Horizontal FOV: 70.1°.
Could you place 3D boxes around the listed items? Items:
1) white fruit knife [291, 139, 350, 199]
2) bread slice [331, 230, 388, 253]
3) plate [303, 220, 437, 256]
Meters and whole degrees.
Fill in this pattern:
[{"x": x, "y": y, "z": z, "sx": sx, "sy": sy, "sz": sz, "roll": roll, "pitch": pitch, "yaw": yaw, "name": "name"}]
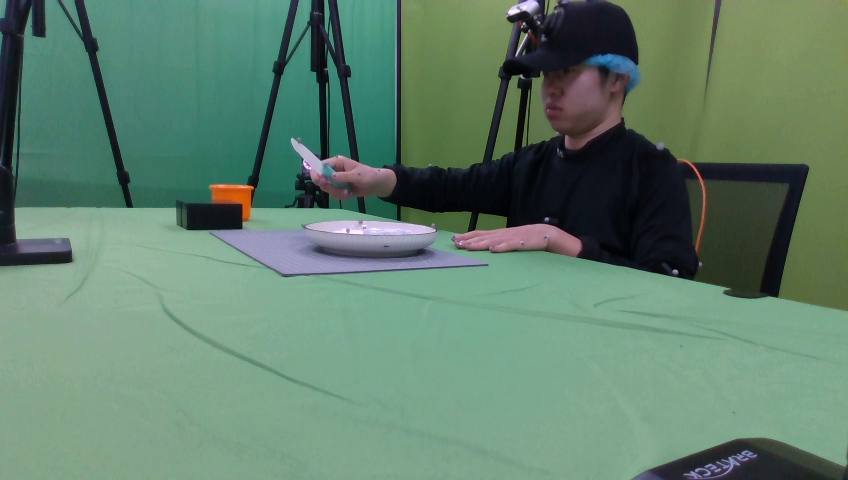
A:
[{"x": -0.181, "y": -0.127, "z": 1.079, "sx": 0.016, "sy": 0.027, "sz": 0.208, "roll": 8, "pitch": -17, "yaw": 23, "name": "white fruit knife"}, {"x": -0.088, "y": 0.000, "z": 0.947, "sx": 0.105, "sy": 0.019, "sz": 0.131, "roll": -4, "pitch": 11, "yaw": -44, "name": "bread slice"}, {"x": -0.084, "y": -0.003, "z": 0.951, "sx": 0.209, "sy": 0.038, "sz": 0.209, "roll": 2, "pitch": 7, "yaw": 0, "name": "plate"}]
